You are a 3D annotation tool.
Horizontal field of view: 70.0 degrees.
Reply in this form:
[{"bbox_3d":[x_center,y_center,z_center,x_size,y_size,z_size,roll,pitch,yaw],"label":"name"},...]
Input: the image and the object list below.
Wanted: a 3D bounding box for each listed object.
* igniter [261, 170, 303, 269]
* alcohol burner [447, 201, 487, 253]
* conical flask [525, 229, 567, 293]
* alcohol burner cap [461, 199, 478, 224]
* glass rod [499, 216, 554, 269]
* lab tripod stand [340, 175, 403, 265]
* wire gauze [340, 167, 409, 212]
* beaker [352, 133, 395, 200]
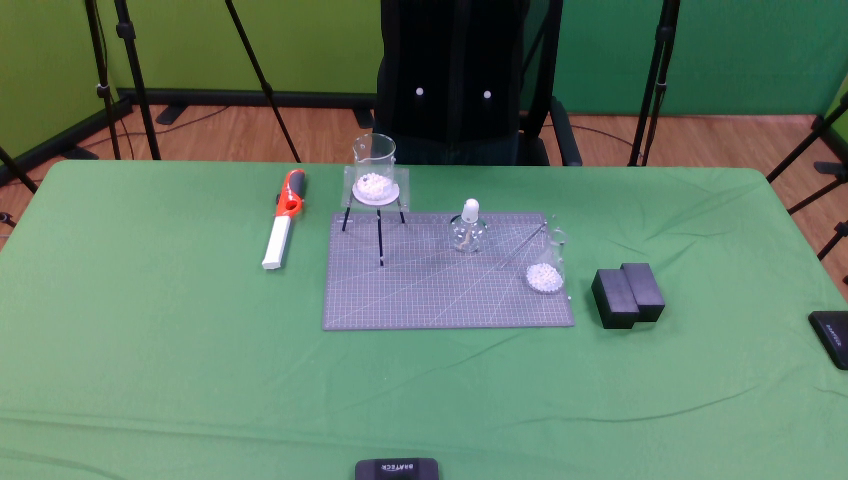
[{"bbox_3d":[-0.283,-0.050,1.222,0.057,0.025,0.275,-4,45,6],"label":"igniter"},{"bbox_3d":[0.085,-0.033,1.171,0.078,0.119,0.077,4,45,-3],"label":"alcohol burner"},{"bbox_3d":[0.231,0.036,1.110,0.075,0.122,0.075,2,46,-2],"label":"conical flask"},{"bbox_3d":[0.087,-0.057,1.144,0.034,0.048,0.033,2,52,-2],"label":"alcohol burner cap"},{"bbox_3d":[0.208,0.002,1.219,0.008,0.008,0.199,32,52,25],"label":"glass rod"},{"bbox_3d":[-0.093,-0.050,1.160,0.148,0.132,0.147,2,44,-2],"label":"lab tripod stand"},{"bbox_3d":[-0.091,-0.095,1.111,0.125,0.011,0.120,1,43,-2],"label":"wire gauze"},{"bbox_3d":[-0.091,-0.126,1.074,0.074,0.101,0.084,26,48,21],"label":"beaker"}]
